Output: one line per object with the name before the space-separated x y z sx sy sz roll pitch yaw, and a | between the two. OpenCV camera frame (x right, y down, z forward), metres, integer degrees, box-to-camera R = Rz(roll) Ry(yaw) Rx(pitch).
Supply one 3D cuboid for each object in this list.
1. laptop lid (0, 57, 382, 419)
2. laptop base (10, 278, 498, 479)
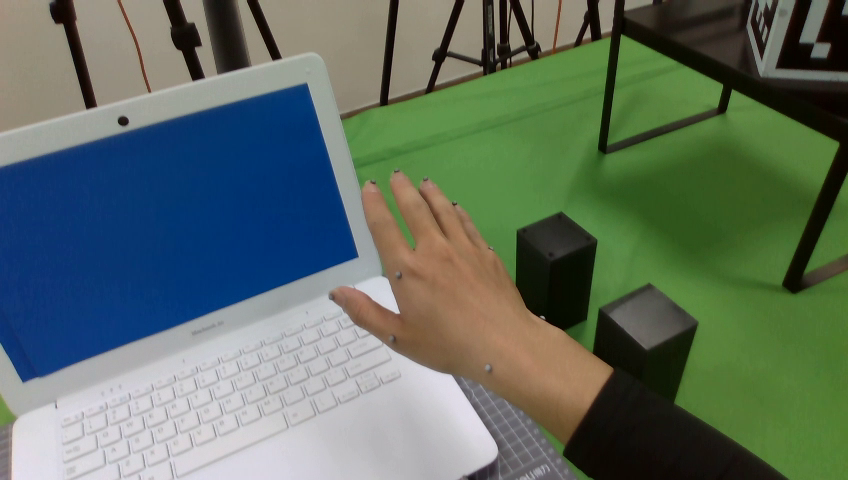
laptop lid | -0.224 -0.004 0.538 0.357 0.243 0.013 -22 24 -17
laptop base | -0.146 0.165 0.501 0.355 0.023 0.233 -21 45 -18
